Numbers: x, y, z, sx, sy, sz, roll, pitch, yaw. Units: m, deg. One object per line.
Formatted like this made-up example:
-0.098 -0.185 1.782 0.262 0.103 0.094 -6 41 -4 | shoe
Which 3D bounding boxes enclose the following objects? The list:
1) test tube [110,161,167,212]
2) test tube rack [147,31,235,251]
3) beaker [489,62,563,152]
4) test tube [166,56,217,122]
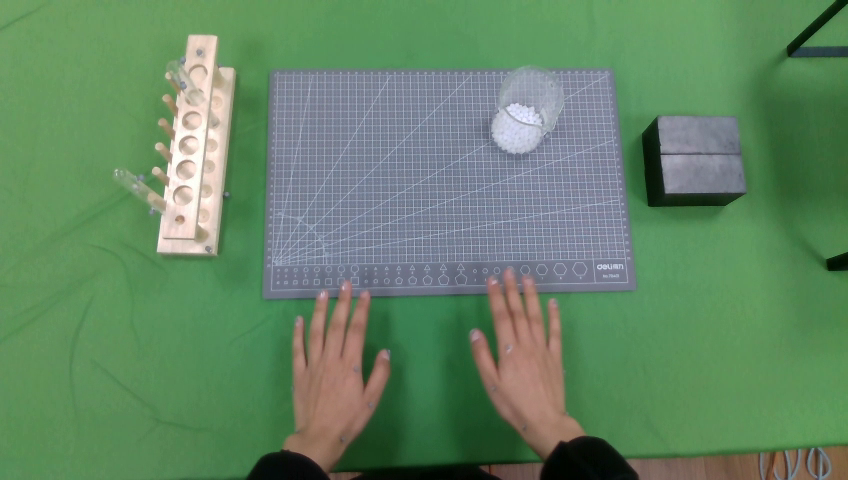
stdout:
-0.297 -0.053 0.649 0.017 0.151 0.017 1 77 -3 | test tube
-0.277 -0.115 0.711 0.067 0.085 0.241 2 76 -2 | test tube rack
0.120 -0.153 0.731 0.074 0.100 0.083 -30 80 -9 | beaker
-0.256 -0.163 0.674 0.017 0.150 0.017 1 80 -5 | test tube
